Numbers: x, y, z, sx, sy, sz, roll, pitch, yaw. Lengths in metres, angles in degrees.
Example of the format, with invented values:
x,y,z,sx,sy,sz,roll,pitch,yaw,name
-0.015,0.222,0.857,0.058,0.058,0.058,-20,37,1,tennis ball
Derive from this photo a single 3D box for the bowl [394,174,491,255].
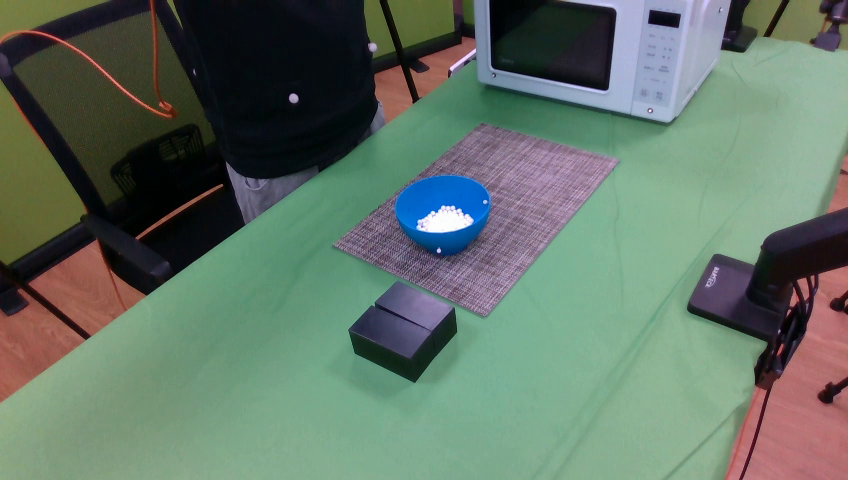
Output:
x,y,z,sx,sy,sz,roll,pitch,yaw,name
0.032,-0.030,0.949,0.151,0.077,0.150,-4,40,4,bowl

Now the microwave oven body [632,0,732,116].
x,y,z,sx,sy,sz,roll,pitch,yaw,name
0.377,-0.463,1.267,0.438,0.261,0.327,21,49,30,microwave oven body

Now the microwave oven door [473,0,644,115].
x,y,z,sx,sy,sz,roll,pitch,yaw,name
0.257,-0.396,1.199,0.353,0.245,0.039,21,48,29,microwave oven door

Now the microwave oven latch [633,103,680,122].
x,y,z,sx,sy,sz,roll,pitch,yaw,name
0.443,-0.249,1.157,0.078,0.029,0.030,21,49,30,microwave oven latch
